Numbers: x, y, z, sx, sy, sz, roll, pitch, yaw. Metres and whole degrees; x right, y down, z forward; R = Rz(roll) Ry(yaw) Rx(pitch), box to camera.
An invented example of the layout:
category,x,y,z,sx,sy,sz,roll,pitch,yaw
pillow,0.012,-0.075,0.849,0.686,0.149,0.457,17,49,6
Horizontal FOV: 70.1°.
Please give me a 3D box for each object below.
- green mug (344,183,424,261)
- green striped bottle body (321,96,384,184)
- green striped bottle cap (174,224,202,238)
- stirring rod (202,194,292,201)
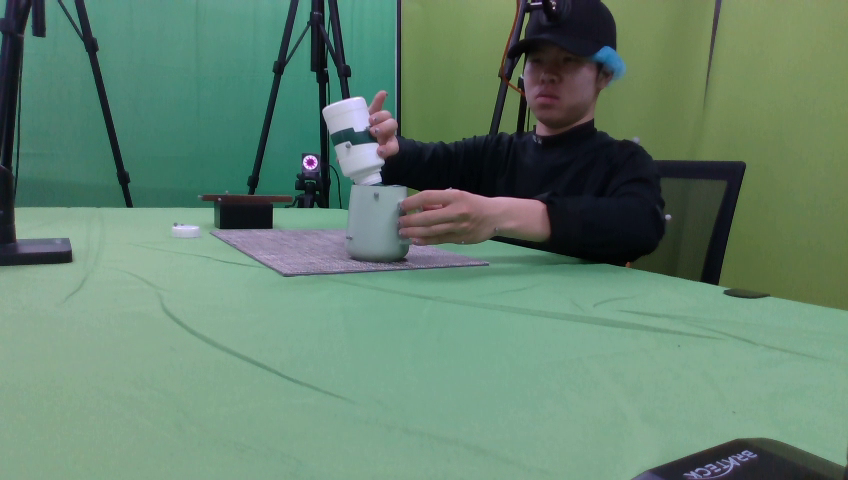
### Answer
category,x,y,z,sx,sy,sz,roll,pitch,yaw
green mug,-0.053,-0.026,0.849,0.125,0.105,0.093,7,8,33
green striped bottle body,-0.097,-0.136,0.852,0.063,0.119,0.063,-18,6,2
green striped bottle cap,-0.404,-0.015,1.036,0.044,0.020,0.044,-2,9,1
stirring rod,-0.353,-0.086,1.216,0.177,0.014,0.006,-1,12,-27
